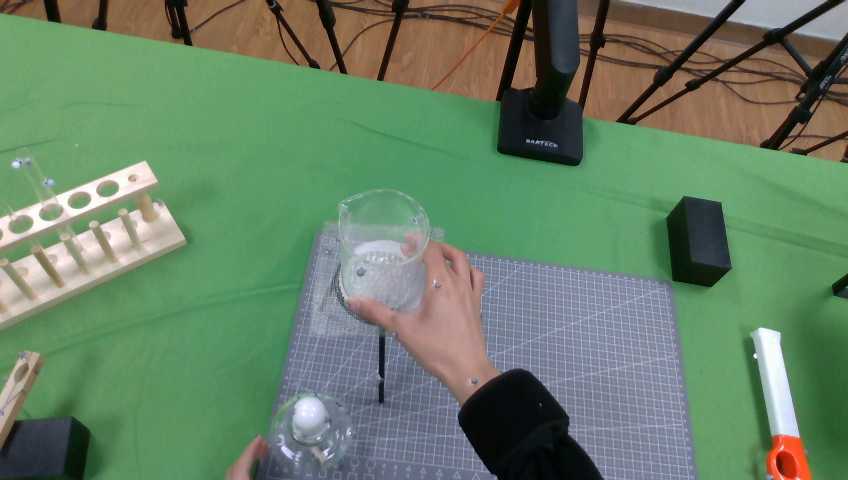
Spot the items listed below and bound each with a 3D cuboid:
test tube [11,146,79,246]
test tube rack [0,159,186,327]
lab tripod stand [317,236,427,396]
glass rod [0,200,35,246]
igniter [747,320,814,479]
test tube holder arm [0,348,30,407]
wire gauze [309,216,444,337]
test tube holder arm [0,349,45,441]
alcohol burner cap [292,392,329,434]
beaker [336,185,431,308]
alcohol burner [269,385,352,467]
[{"bbox_3d":[-0.382,-0.038,0.617,0.017,0.151,0.017,5,53,-6],"label":"test tube"},{"bbox_3d":[-0.392,0.009,0.644,0.242,0.086,0.066,-29,66,-23],"label":"test tube rack"},{"bbox_3d":[-0.047,0.071,0.623,0.149,0.132,0.147,4,59,-7],"label":"lab tripod stand"},{"bbox_3d":[-0.415,-0.035,0.590,0.008,0.201,0.008,1,53,-1],"label":"glass rod"},{"bbox_3d":[0.392,0.217,0.660,0.057,0.025,0.274,14,58,-11],"label":"igniter"},{"bbox_3d":[-0.383,0.178,0.525,0.013,0.015,0.177,10,57,-1],"label":"test tube holder arm"},{"bbox_3d":[-0.042,0.032,0.570,0.121,0.011,0.124,3,62,-4],"label":"wire gauze"},{"bbox_3d":[-0.371,0.142,0.549,0.010,0.015,0.087,11,57,-1],"label":"test tube holder arm"},{"bbox_3d":[-0.102,0.151,0.535,0.034,0.048,0.033,2,64,-4],"label":"alcohol burner cap"},{"bbox_3d":[-0.041,0.009,0.527,0.083,0.101,0.073,30,60,10],"label":"beaker"},{"bbox_3d":[-0.106,0.169,0.566,0.078,0.120,0.077,5,57,-7],"label":"alcohol burner"}]
